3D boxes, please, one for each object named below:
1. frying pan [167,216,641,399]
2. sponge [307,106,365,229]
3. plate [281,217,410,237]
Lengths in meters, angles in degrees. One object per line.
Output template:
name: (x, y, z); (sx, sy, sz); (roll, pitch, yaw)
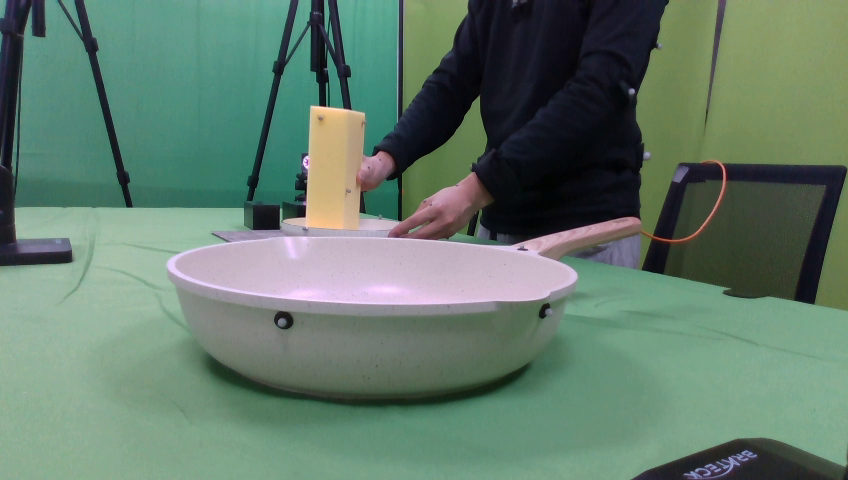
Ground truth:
frying pan: (0.046, 0.024, 0.519); (0.490, 0.102, 0.305); (-14, 16, -37)
sponge: (-0.143, -0.109, 0.982); (0.061, 0.206, 0.118); (5, 12, 6)
plate: (-0.126, -0.012, 0.986); (0.208, 0.039, 0.207); (2, 7, 0)
